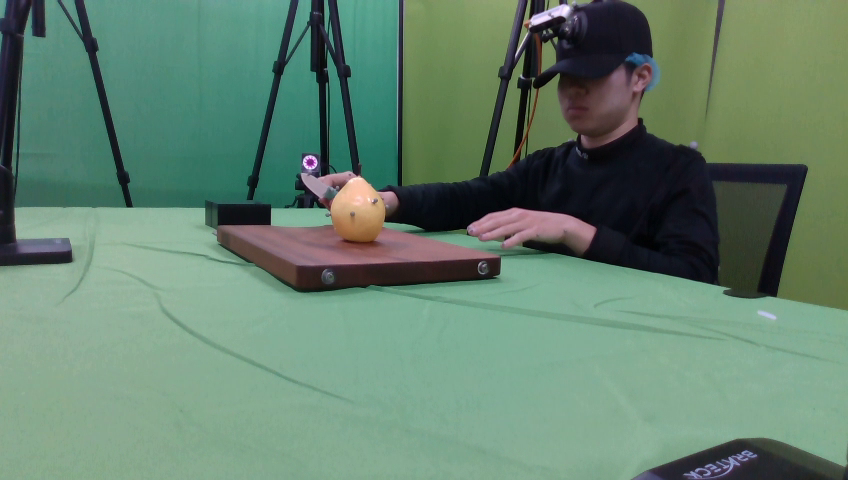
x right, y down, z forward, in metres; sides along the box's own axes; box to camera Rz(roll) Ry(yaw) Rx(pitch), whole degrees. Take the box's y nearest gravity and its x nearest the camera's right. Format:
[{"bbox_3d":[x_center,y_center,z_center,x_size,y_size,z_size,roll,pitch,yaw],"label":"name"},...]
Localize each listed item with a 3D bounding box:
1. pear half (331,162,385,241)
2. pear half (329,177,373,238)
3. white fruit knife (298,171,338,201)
[{"bbox_3d":[-0.085,-0.052,0.839,0.055,0.110,0.077,10,14,42],"label":"pear half"},{"bbox_3d":[-0.109,-0.047,0.866,0.031,0.088,0.071,8,12,43],"label":"pear half"},{"bbox_3d":[-0.163,-0.080,1.000,0.016,0.027,0.208,38,-1,16],"label":"white fruit knife"}]
